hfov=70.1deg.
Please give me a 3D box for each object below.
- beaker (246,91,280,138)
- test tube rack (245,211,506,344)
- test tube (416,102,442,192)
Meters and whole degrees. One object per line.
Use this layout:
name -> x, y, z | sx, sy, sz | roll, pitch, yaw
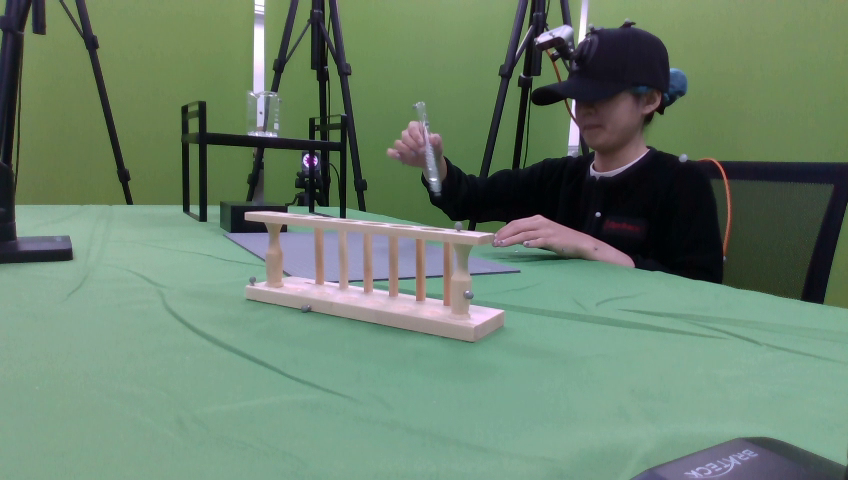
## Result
beaker -> -0.361, -0.279, 1.351 | 0.074, 0.100, 0.084 | 3, 8, 1
test tube rack -> -0.049, 0.025, 0.547 | 0.241, 0.085, 0.067 | 7, 8, 28
test tube -> 0.009, -0.151, 0.986 | 0.017, 0.150, 0.017 | -11, -2, 0
